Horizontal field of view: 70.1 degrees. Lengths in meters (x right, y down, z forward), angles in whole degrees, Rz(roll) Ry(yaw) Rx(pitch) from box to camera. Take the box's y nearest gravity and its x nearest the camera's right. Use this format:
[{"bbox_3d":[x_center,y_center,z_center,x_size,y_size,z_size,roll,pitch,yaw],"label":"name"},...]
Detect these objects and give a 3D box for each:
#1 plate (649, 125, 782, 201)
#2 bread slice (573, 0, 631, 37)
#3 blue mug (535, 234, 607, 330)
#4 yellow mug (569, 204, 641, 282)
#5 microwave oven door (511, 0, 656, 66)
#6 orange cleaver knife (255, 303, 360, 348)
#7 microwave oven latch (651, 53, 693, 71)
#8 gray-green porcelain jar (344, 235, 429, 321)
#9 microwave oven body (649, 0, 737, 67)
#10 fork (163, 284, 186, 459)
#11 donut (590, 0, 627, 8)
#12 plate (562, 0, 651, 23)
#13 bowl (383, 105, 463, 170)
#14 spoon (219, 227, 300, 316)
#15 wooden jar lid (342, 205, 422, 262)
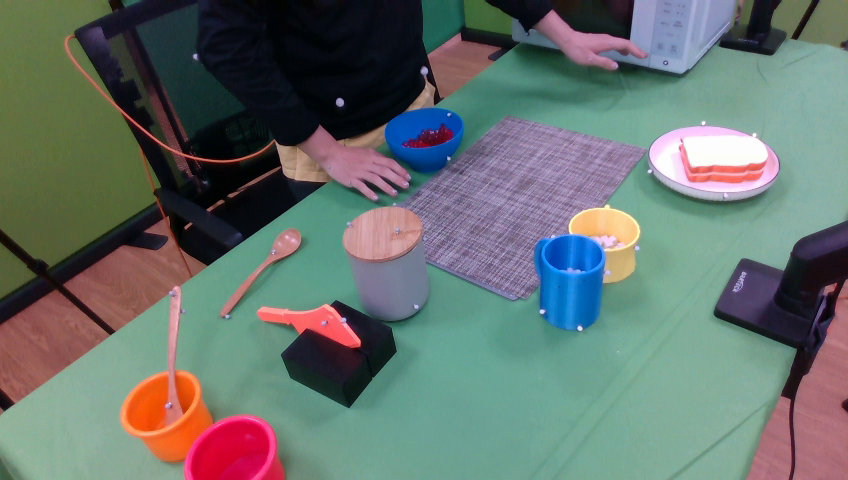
[{"bbox_3d":[0.493,-0.128,1.036,0.207,0.039,0.206,-4,41,4],"label":"plate"},{"bbox_3d":[0.428,-0.558,1.478,0.105,0.019,0.131,-27,69,-19],"label":"bread slice"},{"bbox_3d":[0.191,0.048,0.824,0.082,0.106,0.115,-26,44,-21],"label":"blue mug"},{"bbox_3d":[0.268,-0.005,0.904,0.099,0.064,0.130,7,42,15],"label":"yellow mug"},{"bbox_3d":[0.350,-0.539,1.349,0.353,0.245,0.039,24,50,31],"label":"microwave oven door"},{"bbox_3d":[-0.161,0.115,0.813,0.210,0.077,0.012,-4,32,46],"label":"orange cleaver knife"},{"bbox_3d":[0.532,-0.386,1.301,0.078,0.029,0.030,27,52,34],"label":"microwave oven latch"},{"bbox_3d":[-0.049,0.042,0.849,0.106,0.127,0.105,-4,41,4],"label":"gray-green porcelain jar"},{"bbox_3d":[0.475,-0.602,1.411,0.438,0.261,0.327,23,50,32],"label":"microwave oven body"},{"bbox_3d":[-0.302,0.157,0.733,0.028,0.019,0.207,-3,84,15],"label":"fork"},{"bbox_3d":[0.438,-0.586,1.433,0.099,0.048,0.098,-2,53,3],"label":"donut"},{"bbox_3d":[0.440,-0.573,1.455,0.209,0.038,0.208,-6,43,6],"label":"plate"},{"bbox_3d":[0.002,-0.185,1.143,0.151,0.077,0.150,-4,40,4],"label":"bowl"},{"bbox_3d":[-0.260,0.046,0.954,0.041,0.021,0.194,26,48,12],"label":"spoon"},{"bbox_3d":[-0.055,-0.006,0.808,0.108,0.021,0.108,-6,41,6],"label":"wooden jar lid"}]
